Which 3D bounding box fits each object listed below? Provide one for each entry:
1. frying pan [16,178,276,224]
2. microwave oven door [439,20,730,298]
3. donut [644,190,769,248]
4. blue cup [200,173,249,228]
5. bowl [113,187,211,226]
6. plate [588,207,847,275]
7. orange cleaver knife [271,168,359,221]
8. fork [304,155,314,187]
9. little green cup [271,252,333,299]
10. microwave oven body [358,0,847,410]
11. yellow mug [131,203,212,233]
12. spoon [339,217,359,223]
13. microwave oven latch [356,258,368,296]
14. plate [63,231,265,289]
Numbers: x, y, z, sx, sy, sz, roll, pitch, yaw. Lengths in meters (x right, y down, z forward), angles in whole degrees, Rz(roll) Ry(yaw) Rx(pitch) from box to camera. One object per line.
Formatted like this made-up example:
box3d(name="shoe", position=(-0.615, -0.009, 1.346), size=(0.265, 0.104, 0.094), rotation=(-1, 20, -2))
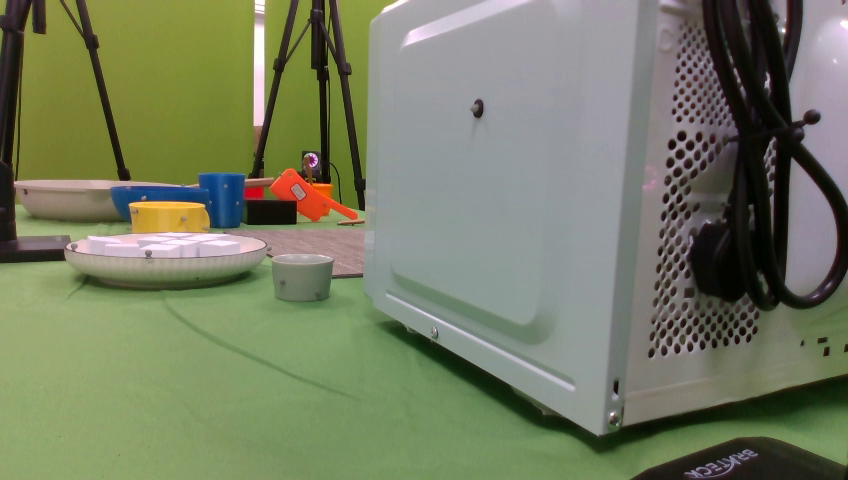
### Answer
box3d(name="frying pan", position=(-0.553, -0.096, 1.266), size=(0.490, 0.102, 0.305), rotation=(-10, 13, -24))
box3d(name="microwave oven door", position=(0.181, -0.076, 0.618), size=(0.358, 0.243, 0.039), rotation=(-2, 8, -28))
box3d(name="donut", position=(0.240, -0.017, 0.517), size=(0.099, 0.048, 0.099), rotation=(2, 3, 0))
box3d(name="blue cup", position=(-0.381, -0.076, 1.155), size=(0.093, 0.100, 0.092), rotation=(0, 8, 0))
box3d(name="bowl", position=(-0.436, -0.046, 1.013), size=(0.151, 0.077, 0.151), rotation=(2, 7, 0))
box3d(name="plate", position=(0.245, -0.001, 0.511), size=(0.209, 0.038, 0.209), rotation=(2, 7, 0))
box3d(name="orange cleaver knife", position=(-0.236, -0.084, 1.333), size=(0.212, 0.077, 0.012), rotation=(31, -10, -32))
box3d(name="fork", position=(-0.268, -0.134, 1.447), size=(0.028, 0.018, 0.207), rotation=(1, -36, -1))
box3d(name="little green cup", position=(-0.122, 0.035, 0.605), size=(0.061, 0.038, 0.061), rotation=(4, 6, 0))
box3d(name="microwave oven body", position=(0.210, -0.051, 0.471), size=(0.444, 0.260, 0.324), rotation=(-1, 7, -28))
box3d(name="yellow mug", position=(-0.356, -0.020, 0.878), size=(0.099, 0.064, 0.131), rotation=(5, 7, 22))
box3d(name="spoon", position=(-0.087, -0.041, 1.268), size=(0.193, 0.021, 0.041), rotation=(4, 24, 13))
box3d(name="microwave oven latch", position=(-0.019, 0.031, 0.528), size=(0.079, 0.029, 0.030), rotation=(-1, 7, -24))
box3d(name="plate", position=(-0.288, 0.021, 0.687), size=(0.208, 0.039, 0.207), rotation=(2, 8, 0))
